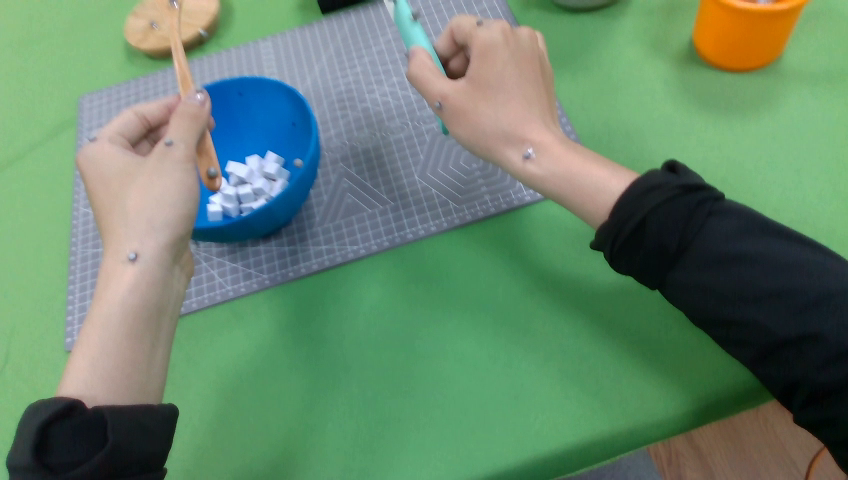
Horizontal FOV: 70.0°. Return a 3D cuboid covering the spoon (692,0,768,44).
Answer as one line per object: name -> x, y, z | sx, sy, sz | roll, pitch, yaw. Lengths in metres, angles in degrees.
spoon -> 0.299, -0.222, 0.469 | 0.022, 0.194, 0.041 | 10, 56, -36

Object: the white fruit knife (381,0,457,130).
white fruit knife -> -0.022, -0.175, 0.451 | 0.016, 0.027, 0.206 | -16, 73, -27

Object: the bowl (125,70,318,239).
bowl -> -0.150, -0.056, 0.495 | 0.151, 0.077, 0.150 | -5, 60, 8

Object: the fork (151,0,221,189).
fork -> -0.166, -0.129, 0.408 | 0.028, 0.019, 0.206 | -15, 75, -14

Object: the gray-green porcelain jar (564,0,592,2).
gray-green porcelain jar -> 0.146, -0.295, 0.551 | 0.106, 0.128, 0.105 | -5, 60, 9

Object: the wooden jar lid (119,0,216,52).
wooden jar lid -> -0.278, -0.246, 0.663 | 0.108, 0.021, 0.107 | -3, 60, 6
